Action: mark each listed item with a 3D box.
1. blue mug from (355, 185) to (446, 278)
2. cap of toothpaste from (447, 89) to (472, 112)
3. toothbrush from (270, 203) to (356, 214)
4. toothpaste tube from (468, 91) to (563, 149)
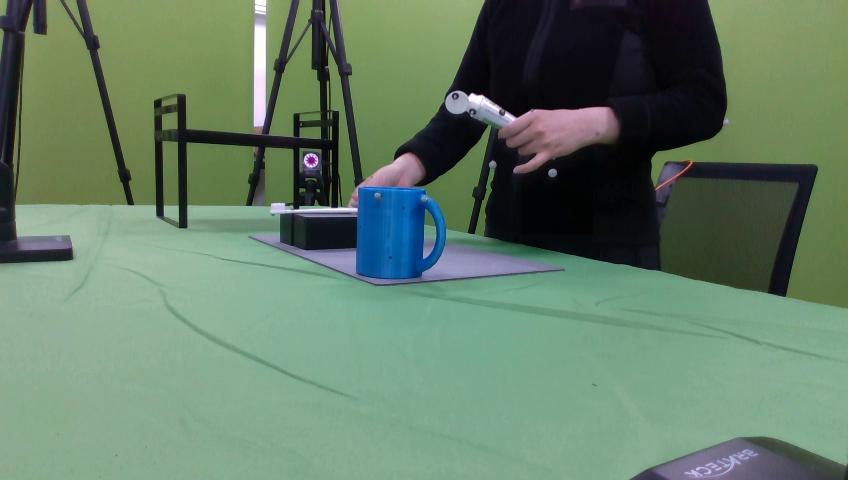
[{"bbox_3d":[-0.027,-0.011,0.723,0.116,0.106,0.083,6,8,27],"label":"blue mug"},{"bbox_3d":[0.050,-0.202,0.869,0.037,0.037,0.011,1,42,-4],"label":"cap of toothpaste"},{"bbox_3d":[-0.156,-0.050,0.958,0.183,0.016,0.014,-2,2,-34],"label":"toothbrush"},{"bbox_3d":[0.131,-0.176,0.902,0.165,0.034,0.055,25,14,-13],"label":"toothpaste tube"}]
